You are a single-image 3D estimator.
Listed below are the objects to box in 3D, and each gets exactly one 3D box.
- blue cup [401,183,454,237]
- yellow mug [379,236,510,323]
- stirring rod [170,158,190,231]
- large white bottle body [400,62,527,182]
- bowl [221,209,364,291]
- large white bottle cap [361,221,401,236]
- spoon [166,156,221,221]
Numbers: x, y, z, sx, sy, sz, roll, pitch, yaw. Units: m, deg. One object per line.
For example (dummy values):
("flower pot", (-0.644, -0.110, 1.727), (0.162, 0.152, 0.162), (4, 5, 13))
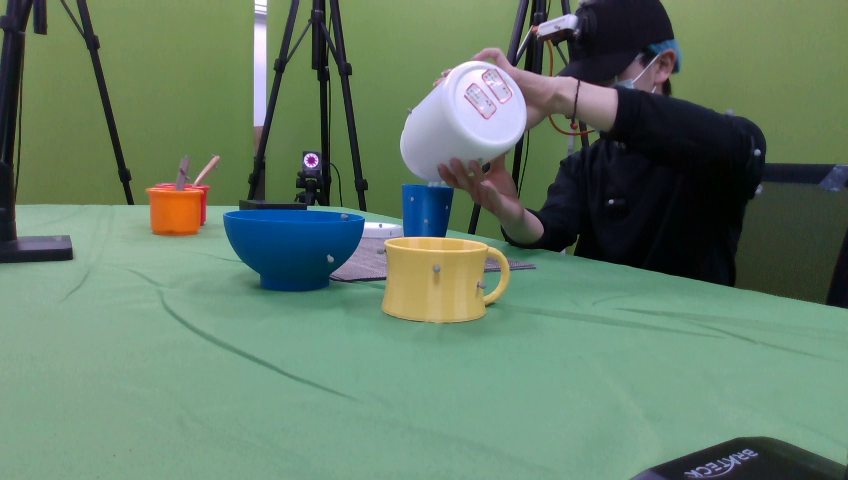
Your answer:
("blue cup", (0.002, -0.038, 0.966), (0.093, 0.100, 0.092), (3, 8, 0))
("yellow mug", (0.024, 0.034, 0.575), (0.131, 0.064, 0.099), (1, 7, -22))
("stirring rod", (-0.426, -0.083, 1.059), (0.014, 0.006, 0.175), (2, 49, -13))
("large white bottle body", (0.048, -0.163, 0.884), (0.131, 0.130, 0.184), (-1, -11, -26))
("bowl", (-0.142, 0.011, 0.660), (0.151, 0.077, 0.151), (2, 7, 0))
("large white bottle cap", (-0.099, -0.021, 1.123), (0.115, 0.018, 0.115), (3, 7, 0))
("spoon", (-0.447, -0.104, 1.192), (0.041, 0.022, 0.193), (7, 52, 14))
